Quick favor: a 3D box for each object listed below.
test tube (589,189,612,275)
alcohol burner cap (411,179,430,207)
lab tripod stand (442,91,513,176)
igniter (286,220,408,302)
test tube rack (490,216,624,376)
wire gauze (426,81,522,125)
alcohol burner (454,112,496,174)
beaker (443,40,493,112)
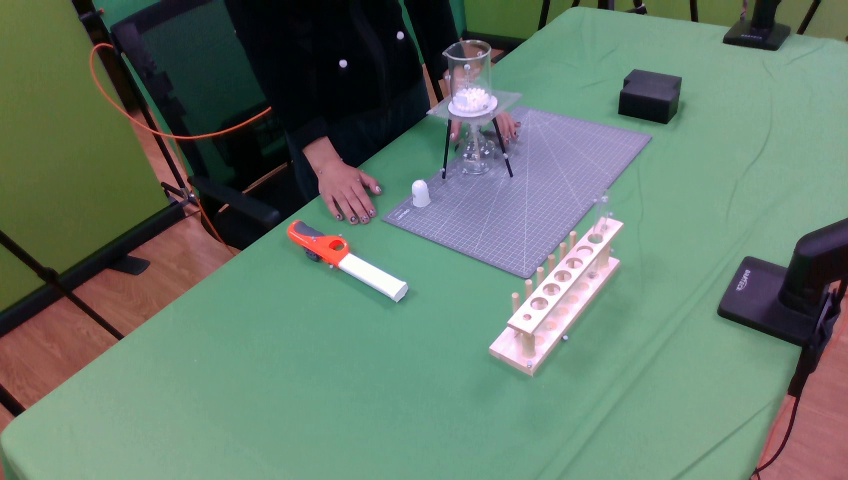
[{"bbox_3d":[0.238,-0.007,0.818,0.017,0.151,0.017,-3,43,4],"label":"test tube"},{"bbox_3d":[-0.008,-0.085,1.063,0.034,0.048,0.033,-4,40,4],"label":"alcohol burner cap"},{"bbox_3d":[0.096,-0.190,1.096,0.148,0.132,0.147,-4,40,4],"label":"lab tripod stand"},{"bbox_3d":[-0.134,0.028,0.969,0.274,0.025,0.057,26,61,35],"label":"igniter"},{"bbox_3d":[0.184,0.064,0.822,0.066,0.085,0.243,24,50,33],"label":"test tube rack"},{"bbox_3d":[0.088,-0.237,1.051,0.120,0.011,0.125,23,47,29],"label":"wire gauze"},{"bbox_3d":[0.092,-0.181,1.102,0.078,0.119,0.077,-5,42,5],"label":"alcohol burner"},{"bbox_3d":[0.076,-0.275,1.023,0.083,0.101,0.074,5,42,16],"label":"beaker"}]
